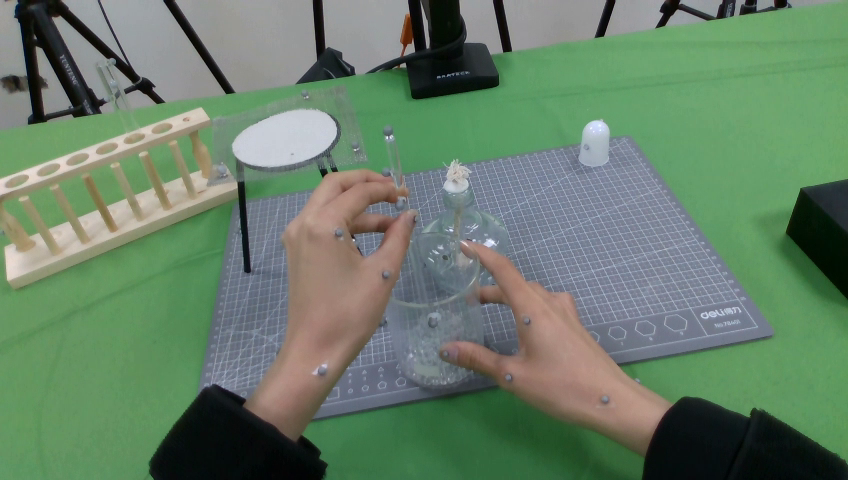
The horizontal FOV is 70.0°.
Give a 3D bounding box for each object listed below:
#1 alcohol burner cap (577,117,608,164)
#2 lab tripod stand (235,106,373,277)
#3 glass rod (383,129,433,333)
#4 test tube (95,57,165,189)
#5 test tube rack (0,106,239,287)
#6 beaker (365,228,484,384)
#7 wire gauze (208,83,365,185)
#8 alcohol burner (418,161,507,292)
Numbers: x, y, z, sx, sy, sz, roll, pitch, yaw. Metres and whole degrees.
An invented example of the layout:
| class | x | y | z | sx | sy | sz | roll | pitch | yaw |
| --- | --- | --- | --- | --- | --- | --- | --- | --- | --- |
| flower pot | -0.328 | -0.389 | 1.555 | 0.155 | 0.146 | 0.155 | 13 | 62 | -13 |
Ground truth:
| class | x | y | z | sx | sy | sz | roll | pitch | yaw |
| --- | --- | --- | --- | --- | --- | --- | --- | --- | --- |
| alcohol burner cap | 0.180 | -0.109 | 0.646 | 0.034 | 0.048 | 0.033 | -5 | 42 | 4 |
| lab tripod stand | -0.110 | -0.040 | 0.549 | 0.148 | 0.133 | 0.147 | -5 | 44 | 5 |
| glass rod | -0.009 | 0.006 | 0.426 | 0.008 | 0.202 | 0.008 | -5 | 46 | 6 |
| test tube | -0.305 | -0.117 | 0.634 | 0.017 | 0.151 | 0.017 | -4 | 39 | 4 |
| test tube rack | -0.328 | -0.051 | 0.639 | 0.242 | 0.086 | 0.066 | -26 | 44 | -19 |
| beaker | 0.005 | 0.053 | 0.451 | 0.084 | 0.101 | 0.073 | -4 | 41 | 6 |
| wire gauze | -0.118 | -0.089 | 0.504 | 0.125 | 0.011 | 0.120 | -14 | 42 | -5 |
| alcohol burner | 0.031 | -0.015 | 0.511 | 0.078 | 0.120 | 0.077 | -5 | 40 | 5 |
